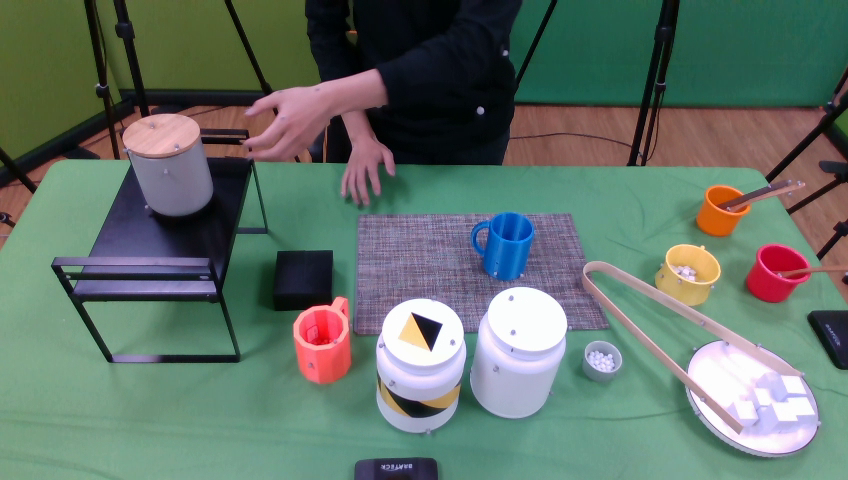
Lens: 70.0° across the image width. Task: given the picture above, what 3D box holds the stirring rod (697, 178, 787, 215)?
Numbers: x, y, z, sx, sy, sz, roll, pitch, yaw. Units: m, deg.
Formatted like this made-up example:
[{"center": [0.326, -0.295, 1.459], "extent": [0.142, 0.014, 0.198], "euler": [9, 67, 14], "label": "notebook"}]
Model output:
[{"center": [0.650, -0.088, 1.246], "extent": [0.006, 0.176, 0.014], "euler": [29, 50, -38], "label": "stirring rod"}]

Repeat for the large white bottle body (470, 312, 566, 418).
[{"center": [0.143, 0.173, 0.930], "extent": [0.131, 0.185, 0.130], "euler": [2, 46, -2], "label": "large white bottle body"}]

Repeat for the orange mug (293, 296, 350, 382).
[{"center": [-0.158, 0.154, 0.985], "extent": [0.083, 0.101, 0.125], "euler": [17, 52, 11], "label": "orange mug"}]

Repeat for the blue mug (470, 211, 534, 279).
[{"center": [0.141, 0.005, 1.140], "extent": [0.116, 0.106, 0.082], "euler": [18, 48, 13], "label": "blue mug"}]

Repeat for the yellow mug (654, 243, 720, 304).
[{"center": [0.504, 0.054, 1.154], "extent": [0.099, 0.064, 0.130], "euler": [28, 50, 22], "label": "yellow mug"}]

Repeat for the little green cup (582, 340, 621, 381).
[{"center": [0.295, 0.204, 1.014], "extent": [0.061, 0.039, 0.061], "euler": [2, 45, -2], "label": "little green cup"}]

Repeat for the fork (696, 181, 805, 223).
[{"center": [0.659, -0.077, 1.232], "extent": [0.207, 0.019, 0.028], "euler": [-26, 35, 34], "label": "fork"}]

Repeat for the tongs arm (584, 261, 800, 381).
[{"center": [0.452, 0.137, 1.064], "extent": [0.051, 0.027, 0.382], "euler": [-34, 50, -26], "label": "tongs arm"}]

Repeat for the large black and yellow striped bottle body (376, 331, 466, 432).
[{"center": [-0.007, 0.189, 0.905], "extent": [0.131, 0.185, 0.130], "euler": [2, 46, -2], "label": "large black and yellow striped bottle body"}]

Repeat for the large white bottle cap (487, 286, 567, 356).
[{"center": [0.147, 0.114, 0.869], "extent": [0.115, 0.018, 0.114], "euler": [3, 46, -3], "label": "large white bottle cap"}]

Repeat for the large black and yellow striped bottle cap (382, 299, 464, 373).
[{"center": [-0.002, 0.132, 0.843], "extent": [0.115, 0.019, 0.114], "euler": [2, 46, -1], "label": "large black and yellow striped bottle cap"}]

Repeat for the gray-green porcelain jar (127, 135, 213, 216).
[{"center": [-0.394, -0.109, 0.949], "extent": [0.106, 0.127, 0.105], "euler": [3, 46, -3], "label": "gray-green porcelain jar"}]

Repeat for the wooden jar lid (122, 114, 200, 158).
[{"center": [-0.390, -0.152, 0.904], "extent": [0.108, 0.021, 0.107], "euler": [3, 45, -3], "label": "wooden jar lid"}]

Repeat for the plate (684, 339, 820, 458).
[{"center": [0.523, 0.256, 0.982], "extent": [0.208, 0.039, 0.206], "euler": [2, 46, -2], "label": "plate"}]

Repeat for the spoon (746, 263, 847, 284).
[{"center": [0.696, 0.057, 1.113], "extent": [0.193, 0.022, 0.041], "euler": [-16, 27, 48], "label": "spoon"}]

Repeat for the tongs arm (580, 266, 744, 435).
[{"center": [0.384, 0.173, 1.029], "extent": [0.028, 0.028, 0.385], "euler": [-25, 46, -14], "label": "tongs arm"}]
